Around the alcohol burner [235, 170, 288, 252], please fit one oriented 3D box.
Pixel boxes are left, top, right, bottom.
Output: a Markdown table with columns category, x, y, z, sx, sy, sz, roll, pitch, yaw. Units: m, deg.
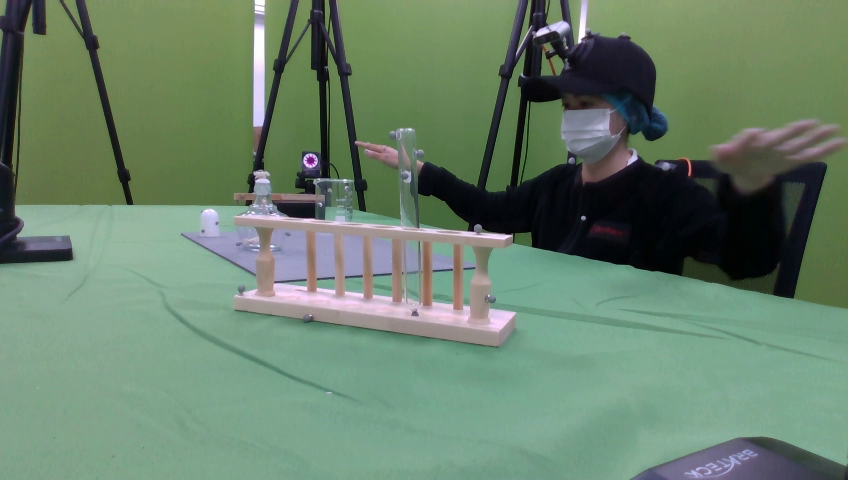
| category | x | y | z | sx | sy | sz | roll | pitch | yaw |
| --- | --- | --- | --- | --- | --- | --- | --- | --- | --- |
| alcohol burner | -0.236 | -0.042 | 0.882 | 0.078 | 0.119 | 0.078 | 2 | 9 | 0 |

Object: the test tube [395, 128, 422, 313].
| category | x | y | z | sx | sy | sz | roll | pitch | yaw |
| --- | --- | --- | --- | --- | --- | --- | --- | --- | --- |
| test tube | -0.013 | -0.015 | 0.491 | 0.017 | 0.150 | 0.017 | -2 | 5 | 1 |

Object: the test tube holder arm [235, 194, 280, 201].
| category | x | y | z | sx | sy | sz | roll | pitch | yaw |
| --- | --- | --- | --- | --- | --- | --- | --- | --- | --- |
| test tube holder arm | -0.336 | -0.086 | 1.221 | 0.088 | 0.015 | 0.010 | -1 | 16 | -29 |

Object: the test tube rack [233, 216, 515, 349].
| category | x | y | z | sx | sy | sz | roll | pitch | yaw |
| --- | --- | --- | --- | --- | --- | --- | --- | --- | --- |
| test tube rack | -0.045 | 0.029 | 0.526 | 0.241 | 0.085 | 0.067 | 5 | 8 | 19 |

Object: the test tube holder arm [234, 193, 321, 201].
| category | x | y | z | sx | sy | sz | roll | pitch | yaw |
| --- | --- | --- | --- | --- | --- | --- | --- | --- | --- |
| test tube holder arm | -0.299 | -0.088 | 1.248 | 0.179 | 0.015 | 0.013 | -1 | 16 | -30 |

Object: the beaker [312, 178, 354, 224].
| category | x | y | z | sx | sy | sz | roll | pitch | yaw |
| --- | --- | --- | --- | --- | --- | --- | --- | --- | --- |
| beaker | -0.174 | -0.065 | 1.140 | 0.084 | 0.100 | 0.073 | -5 | 10 | -41 |

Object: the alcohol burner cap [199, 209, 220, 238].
| category | x | y | z | sx | sy | sz | roll | pitch | yaw |
| --- | --- | --- | --- | --- | --- | --- | --- | --- | --- |
| alcohol burner cap | -0.356 | -0.027 | 1.002 | 0.034 | 0.048 | 0.034 | 2 | 7 | 0 |
